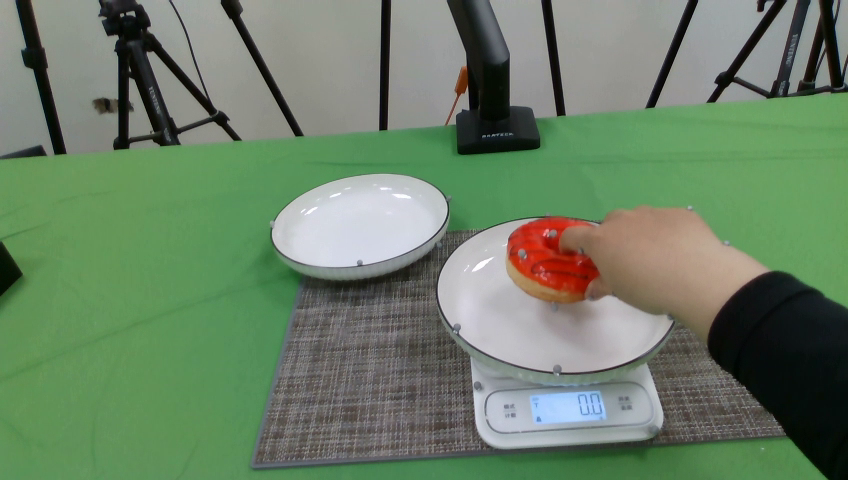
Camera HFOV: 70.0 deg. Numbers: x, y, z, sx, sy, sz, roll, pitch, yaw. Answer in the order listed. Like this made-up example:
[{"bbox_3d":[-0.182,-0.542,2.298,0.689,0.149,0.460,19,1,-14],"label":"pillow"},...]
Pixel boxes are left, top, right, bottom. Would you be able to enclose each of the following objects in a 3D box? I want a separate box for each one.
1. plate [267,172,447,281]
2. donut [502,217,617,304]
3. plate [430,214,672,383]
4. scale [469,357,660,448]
[{"bbox_3d":[-0.077,-0.015,0.712,0.209,0.038,0.207,-5,35,4],"label":"plate"},{"bbox_3d":[0.116,0.017,0.523,0.099,0.048,0.098,-1,35,1],"label":"donut"},{"bbox_3d":[0.110,0.051,0.544,0.207,0.039,0.205,-4,37,3],"label":"plate"},{"bbox_3d":[0.113,0.091,0.545,0.148,0.032,0.199,-5,37,3],"label":"scale"}]
